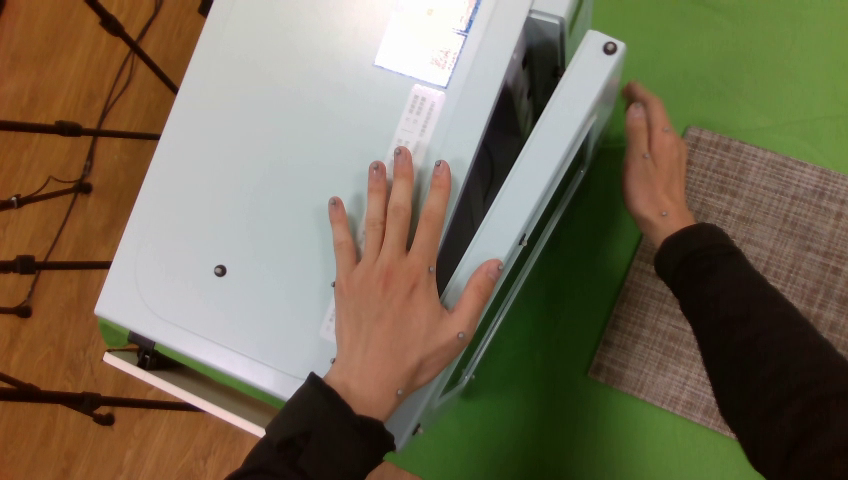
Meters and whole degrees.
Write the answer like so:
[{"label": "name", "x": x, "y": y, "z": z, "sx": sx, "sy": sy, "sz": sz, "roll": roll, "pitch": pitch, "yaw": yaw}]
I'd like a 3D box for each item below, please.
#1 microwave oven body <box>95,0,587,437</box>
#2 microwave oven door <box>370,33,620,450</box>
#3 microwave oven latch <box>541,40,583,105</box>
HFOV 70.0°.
[{"label": "microwave oven body", "x": -0.065, "y": -0.085, "z": 0.616, "sx": 0.325, "sy": 0.261, "sz": 0.441, "roll": 20, "pitch": 90, "yaw": 13}, {"label": "microwave oven door", "x": 0.076, "y": 0.013, "z": 0.571, "sx": 0.039, "sy": 0.245, "sz": 0.355, "roll": 29, "pitch": 91, "yaw": 15}, {"label": "microwave oven latch", "x": 0.154, "y": -0.191, "z": 0.677, "sx": 0.030, "sy": 0.029, "sz": 0.079, "roll": 21, "pitch": 90, "yaw": 13}]
